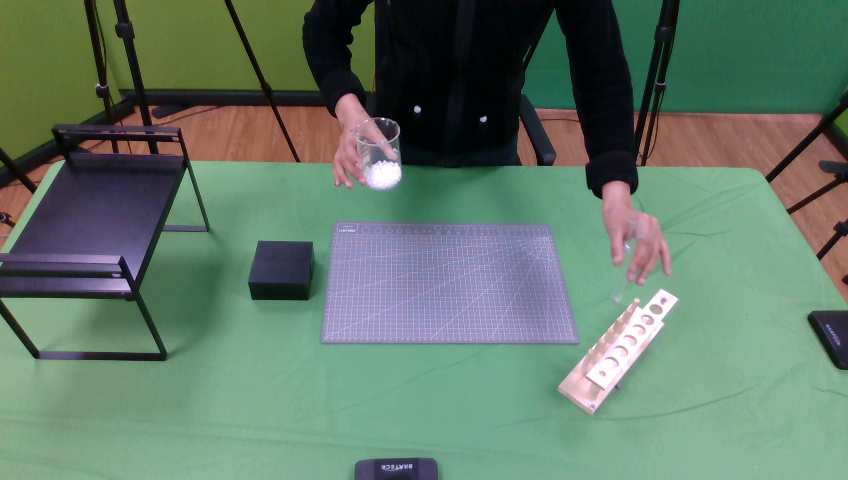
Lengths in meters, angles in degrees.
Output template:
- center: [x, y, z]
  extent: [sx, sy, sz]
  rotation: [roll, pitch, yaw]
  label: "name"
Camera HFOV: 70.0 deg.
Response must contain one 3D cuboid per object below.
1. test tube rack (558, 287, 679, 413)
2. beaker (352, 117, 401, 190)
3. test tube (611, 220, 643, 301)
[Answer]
- center: [0.326, 0.170, 1.009]
  extent: [0.066, 0.085, 0.242]
  rotation: [35, 54, 26]
  label: "test tube rack"
- center: [-0.073, -0.141, 0.989]
  extent: [0.074, 0.101, 0.083]
  rotation: [15, 48, 16]
  label: "beaker"
- center: [0.297, 0.034, 0.894]
  extent: [0.017, 0.151, 0.017]
  rotation: [0, 39, 0]
  label: "test tube"
